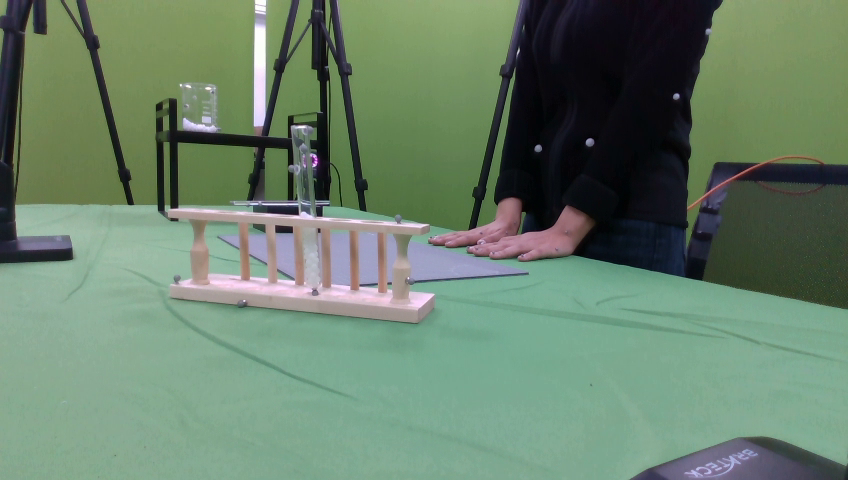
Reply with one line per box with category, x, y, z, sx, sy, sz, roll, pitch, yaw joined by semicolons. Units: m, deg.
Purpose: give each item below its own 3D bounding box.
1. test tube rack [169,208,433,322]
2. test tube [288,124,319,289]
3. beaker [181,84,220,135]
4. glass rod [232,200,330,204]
test tube rack;-0.115;0.018;0.574;0.242;0.085;0.067;4;8;13
test tube;-0.108;-0.029;0.546;0.017;0.150;0.017;-3;12;1
beaker;-0.475;-0.275;1.281;0.073;0.100;0.084;6;9;35
glass rod;-0.265;-0.071;1.146;0.201;0.008;0.008;-4;9;-40
